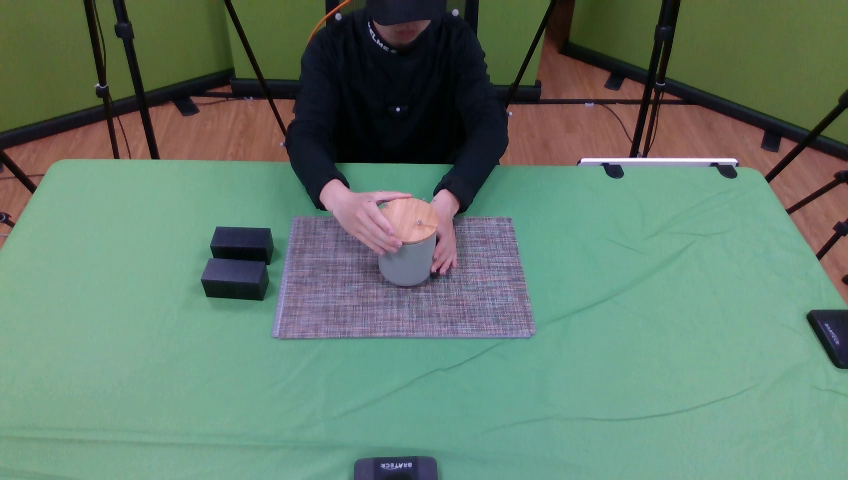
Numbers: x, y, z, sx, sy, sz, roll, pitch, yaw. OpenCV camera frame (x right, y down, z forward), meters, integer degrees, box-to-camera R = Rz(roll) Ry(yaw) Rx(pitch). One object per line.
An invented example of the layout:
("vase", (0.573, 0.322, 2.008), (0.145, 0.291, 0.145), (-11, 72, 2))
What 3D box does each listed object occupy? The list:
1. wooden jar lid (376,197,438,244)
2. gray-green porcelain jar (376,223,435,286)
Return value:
("wooden jar lid", (-0.029, -0.031, 1.060), (0.108, 0.021, 0.107), (2, 47, -2))
("gray-green porcelain jar", (-0.034, 0.014, 1.105), (0.106, 0.127, 0.105), (2, 46, -2))
